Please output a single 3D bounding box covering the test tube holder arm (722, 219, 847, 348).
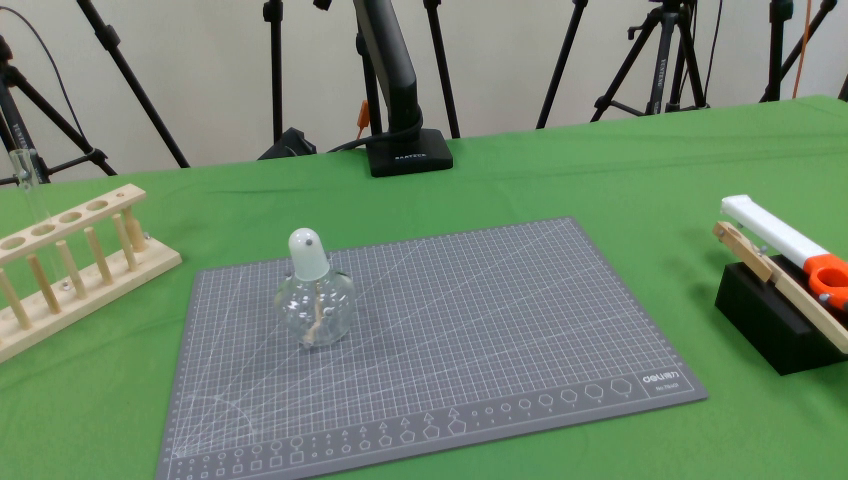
[{"bbox_3d":[0.320,0.032,0.546,0.013,0.015,0.176,-4,34,-13],"label":"test tube holder arm"}]

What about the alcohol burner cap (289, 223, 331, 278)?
[{"bbox_3d":[-0.104,0.007,0.544,0.034,0.048,0.033,-4,37,3],"label":"alcohol burner cap"}]

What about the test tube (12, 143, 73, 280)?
[{"bbox_3d":[-0.385,-0.025,0.615,0.017,0.151,0.017,-1,29,1],"label":"test tube"}]

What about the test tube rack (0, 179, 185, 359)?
[{"bbox_3d":[-0.381,0.031,0.622,0.066,0.086,0.242,23,42,32],"label":"test tube rack"}]

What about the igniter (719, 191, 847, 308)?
[{"bbox_3d":[0.364,0.023,0.549,0.057,0.025,0.273,-9,32,-8],"label":"igniter"}]

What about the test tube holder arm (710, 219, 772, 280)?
[{"bbox_3d":[0.305,0.008,0.581,0.010,0.015,0.087,-4,34,-12],"label":"test tube holder arm"}]

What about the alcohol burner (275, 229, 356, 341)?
[{"bbox_3d":[-0.103,0.037,0.565,0.078,0.120,0.077,-1,36,1],"label":"alcohol burner"}]
